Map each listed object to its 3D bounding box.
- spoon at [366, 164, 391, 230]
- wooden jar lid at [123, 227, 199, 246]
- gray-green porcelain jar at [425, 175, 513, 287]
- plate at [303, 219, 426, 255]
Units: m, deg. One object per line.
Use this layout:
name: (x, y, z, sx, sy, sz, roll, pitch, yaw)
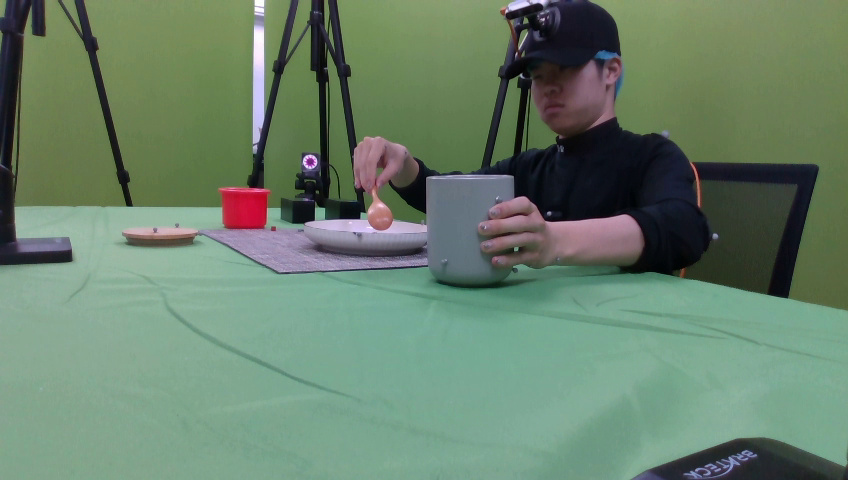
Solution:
spoon: (-0.082, -0.076, 1.002, 0.042, 0.021, 0.193, 16, 29, -19)
wooden jar lid: (-0.408, -0.006, 0.942, 0.108, 0.020, 0.108, 3, 6, 0)
gray-green porcelain jar: (0.054, -0.013, 0.722, 0.106, 0.126, 0.106, -1, 8, 0)
plate: (-0.084, -0.005, 0.952, 0.208, 0.039, 0.207, 3, 7, 0)
